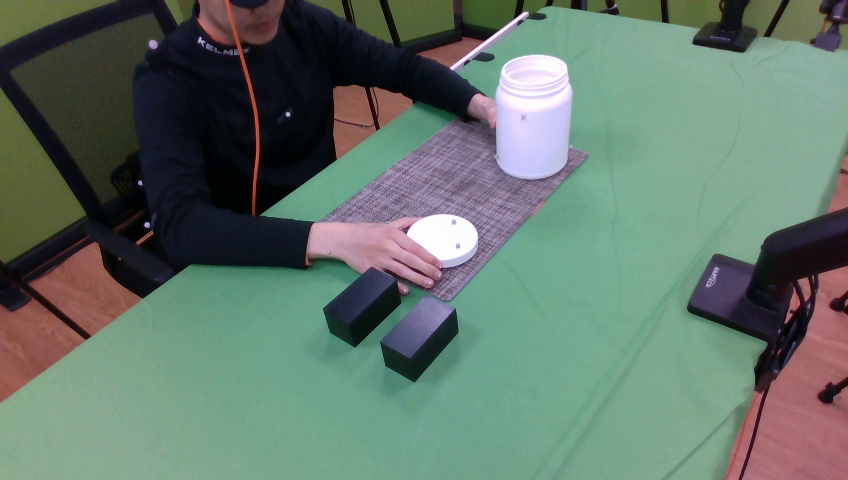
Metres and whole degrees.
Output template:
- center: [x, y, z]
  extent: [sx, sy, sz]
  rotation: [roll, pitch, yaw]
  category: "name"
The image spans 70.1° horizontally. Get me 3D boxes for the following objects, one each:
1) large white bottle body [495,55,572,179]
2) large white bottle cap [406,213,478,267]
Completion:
- center: [0.191, -0.216, 1.061]
  extent: [0.130, 0.185, 0.130]
  rotation: [-4, 41, 4]
  category: "large white bottle body"
- center: [0.028, -0.002, 0.953]
  extent: [0.115, 0.018, 0.114]
  rotation: [-2, 40, 2]
  category: "large white bottle cap"
